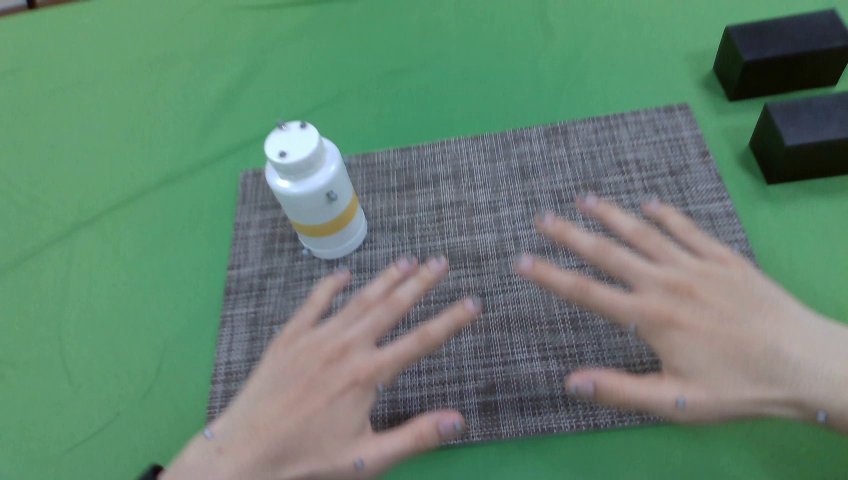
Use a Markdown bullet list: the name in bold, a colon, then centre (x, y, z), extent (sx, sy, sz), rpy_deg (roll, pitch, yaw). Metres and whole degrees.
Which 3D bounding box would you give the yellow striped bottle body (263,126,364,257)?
- **yellow striped bottle body**: centre (-0.094, -0.042, 0.513), extent (0.063, 0.121, 0.062), rpy_deg (-4, 56, 7)

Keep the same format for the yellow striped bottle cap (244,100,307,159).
- **yellow striped bottle cap**: centre (-0.110, -0.083, 0.453), extent (0.044, 0.019, 0.044), rpy_deg (-5, 63, 10)
